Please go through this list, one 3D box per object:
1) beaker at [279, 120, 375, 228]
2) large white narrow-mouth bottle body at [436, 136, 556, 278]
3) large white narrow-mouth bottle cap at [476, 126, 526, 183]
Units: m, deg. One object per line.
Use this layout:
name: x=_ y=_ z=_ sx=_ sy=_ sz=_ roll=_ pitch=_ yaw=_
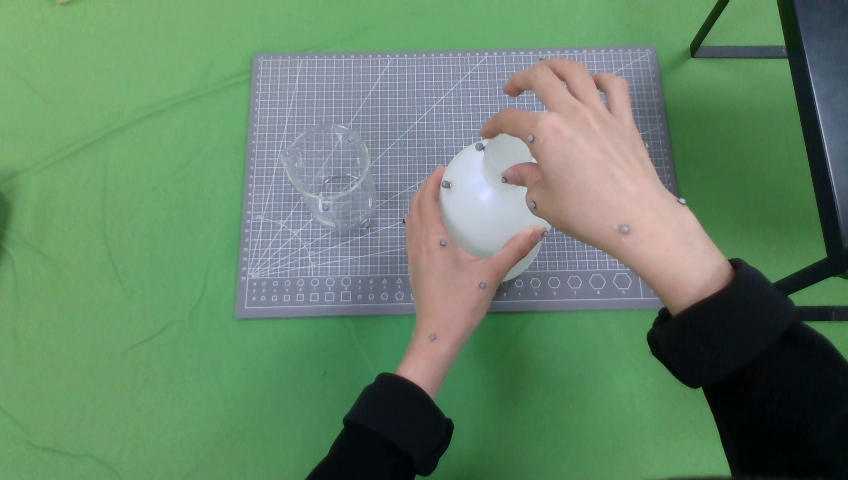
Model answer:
beaker: x=-0.088 y=-0.058 z=0.582 sx=0.084 sy=0.101 sz=0.073 roll=8 pitch=72 yaw=4
large white narrow-mouth bottle body: x=0.061 y=-0.033 z=0.525 sx=0.102 sy=0.196 sz=0.101 roll=-1 pitch=73 yaw=2
large white narrow-mouth bottle cap: x=0.056 y=-0.060 z=0.436 sx=0.038 sy=0.024 sz=0.037 roll=0 pitch=74 yaw=2
